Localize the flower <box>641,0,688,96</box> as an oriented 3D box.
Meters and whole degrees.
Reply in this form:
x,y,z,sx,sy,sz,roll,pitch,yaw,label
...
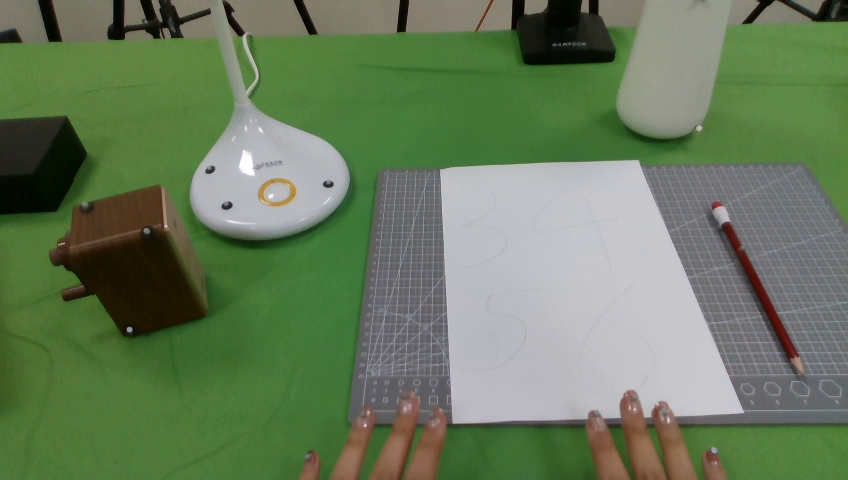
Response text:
x,y,z,sx,sy,sz,roll,pitch,yaw,label
0.252,-0.251,0.554,0.044,0.364,0.038,41,73,19,flower

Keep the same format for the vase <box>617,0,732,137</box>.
x,y,z,sx,sy,sz,roll,pitch,yaw,label
0.262,-0.208,0.628,0.098,0.202,0.097,-2,44,2,vase

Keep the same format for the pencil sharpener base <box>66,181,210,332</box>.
x,y,z,sx,sy,sz,roll,pitch,yaw,label
-0.229,0.016,0.493,0.077,0.108,0.060,-16,47,-12,pencil sharpener base

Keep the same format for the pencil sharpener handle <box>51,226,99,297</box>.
x,y,z,sx,sy,sz,roll,pitch,yaw,label
-0.278,0.021,0.474,0.031,0.068,0.035,-16,51,-12,pencil sharpener handle

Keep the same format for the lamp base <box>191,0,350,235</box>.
x,y,z,sx,sy,sz,roll,pitch,yaw,label
-0.166,-0.124,0.577,0.161,0.182,0.177,-24,47,-19,lamp base

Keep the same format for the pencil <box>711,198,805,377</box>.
x,y,z,sx,sy,sz,roll,pitch,yaw,label
0.283,0.033,0.520,0.012,0.012,0.192,-3,48,0,pencil
